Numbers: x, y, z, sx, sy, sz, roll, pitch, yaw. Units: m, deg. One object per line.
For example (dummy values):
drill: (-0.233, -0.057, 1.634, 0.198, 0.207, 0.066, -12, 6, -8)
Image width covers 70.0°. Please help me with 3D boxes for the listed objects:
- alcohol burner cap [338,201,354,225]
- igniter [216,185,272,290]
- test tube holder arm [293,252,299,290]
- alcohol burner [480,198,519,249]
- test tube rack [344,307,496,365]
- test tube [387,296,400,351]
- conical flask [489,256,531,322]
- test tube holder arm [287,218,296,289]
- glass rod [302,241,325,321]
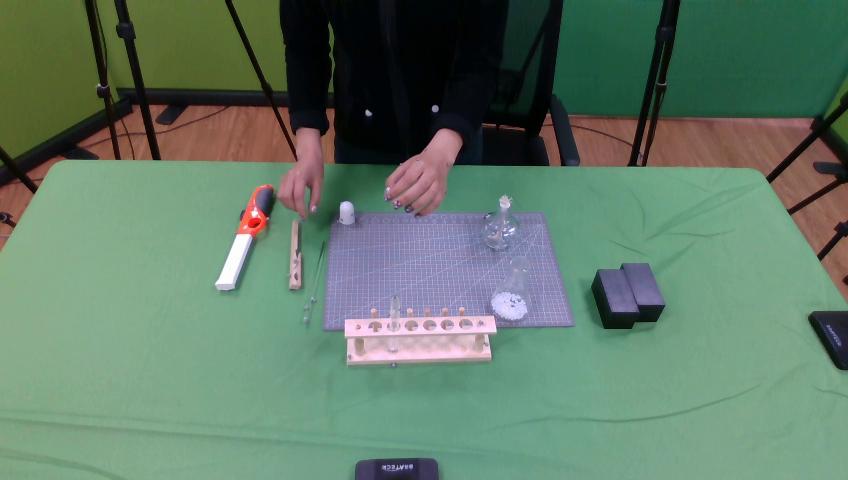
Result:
alcohol burner cap: (-0.159, -0.056, 1.224, 0.034, 0.048, 0.033, 3, 46, -2)
igniter: (-0.347, -0.014, 1.182, 0.057, 0.025, 0.275, -1, 45, 8)
test tube holder arm: (-0.241, 0.056, 1.131, 0.010, 0.015, 0.087, 25, 35, -33)
alcohol burner: (0.150, -0.039, 1.182, 0.078, 0.119, 0.077, 3, 47, -3)
test tube rack: (-0.009, 0.154, 1.007, 0.242, 0.085, 0.066, -1, 46, -5)
test tube: (-0.048, 0.135, 0.953, 0.017, 0.151, 0.017, 3, 51, -3)
conical flask: (0.158, 0.081, 1.061, 0.075, 0.122, 0.075, 2, 46, -2)
test tube holder arm: (-0.254, 0.022, 1.158, 0.013, 0.015, 0.177, 24, 35, -35)
glass rod: (-0.204, 0.071, 1.124, 0.008, 0.008, 0.198, 4, 43, 0)
